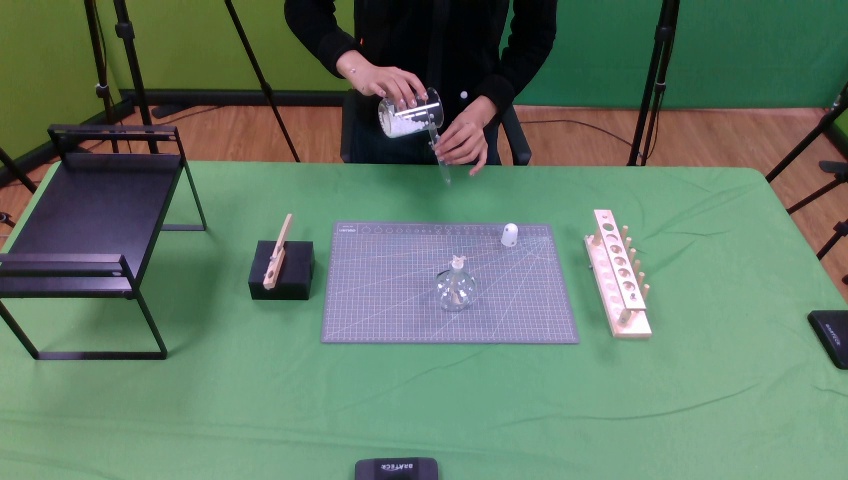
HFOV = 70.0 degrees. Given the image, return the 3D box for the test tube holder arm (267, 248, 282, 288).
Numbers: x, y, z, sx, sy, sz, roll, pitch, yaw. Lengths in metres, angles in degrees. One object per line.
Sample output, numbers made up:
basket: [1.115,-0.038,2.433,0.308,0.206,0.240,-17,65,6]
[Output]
test tube holder arm: [-0.262,0.048,1.068,0.010,0.015,0.087,4,45,-3]

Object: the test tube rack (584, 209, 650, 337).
test tube rack: [0.365,0.056,1.129,0.067,0.085,0.240,1,46,-4]

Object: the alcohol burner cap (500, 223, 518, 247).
alcohol burner cap: [0.172,-0.013,1.206,0.034,0.048,0.033,2,45,-2]

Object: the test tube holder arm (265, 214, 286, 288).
test tube holder arm: [-0.268,0.016,1.099,0.013,0.015,0.177,3,45,-5]

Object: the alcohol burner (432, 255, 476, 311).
alcohol burner: [0.055,0.070,1.068,0.078,0.119,0.077,3,45,-3]

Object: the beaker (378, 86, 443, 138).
beaker: [-0.026,-0.225,1.087,0.100,0.084,0.073,-18,51,-18]

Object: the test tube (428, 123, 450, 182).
test tube: [0.030,-0.167,1.185,0.017,0.151,0.017,-8,50,10]
